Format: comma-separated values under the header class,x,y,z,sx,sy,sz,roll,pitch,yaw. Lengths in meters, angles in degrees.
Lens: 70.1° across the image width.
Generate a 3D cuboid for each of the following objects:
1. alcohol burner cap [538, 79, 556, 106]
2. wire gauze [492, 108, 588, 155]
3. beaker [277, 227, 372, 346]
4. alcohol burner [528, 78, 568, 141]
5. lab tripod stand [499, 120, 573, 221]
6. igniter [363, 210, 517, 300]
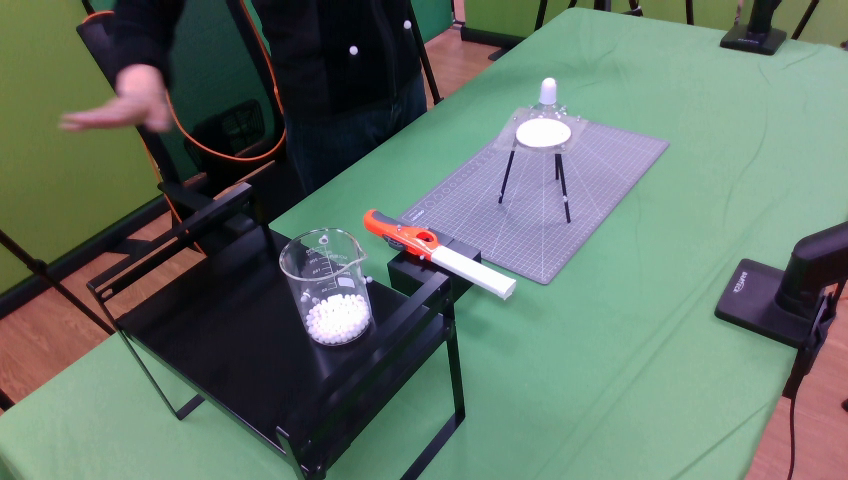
class,x,y,z,sx,sy,sz,roll,pitch,yaw
alcohol burner cap,0.234,-0.281,1.141,0.034,0.048,0.033,-1,42,2
wire gauze,0.185,-0.170,0.953,0.121,0.011,0.125,13,44,22
beaker,-0.090,0.048,0.593,0.084,0.101,0.073,-3,41,5
alcohol burner,0.238,-0.253,1.163,0.078,0.119,0.077,-6,40,6
lab tripod stand,0.198,-0.117,0.992,0.148,0.132,0.147,-3,40,3
igniter,0.012,0.015,0.880,0.274,0.025,0.057,26,48,30
